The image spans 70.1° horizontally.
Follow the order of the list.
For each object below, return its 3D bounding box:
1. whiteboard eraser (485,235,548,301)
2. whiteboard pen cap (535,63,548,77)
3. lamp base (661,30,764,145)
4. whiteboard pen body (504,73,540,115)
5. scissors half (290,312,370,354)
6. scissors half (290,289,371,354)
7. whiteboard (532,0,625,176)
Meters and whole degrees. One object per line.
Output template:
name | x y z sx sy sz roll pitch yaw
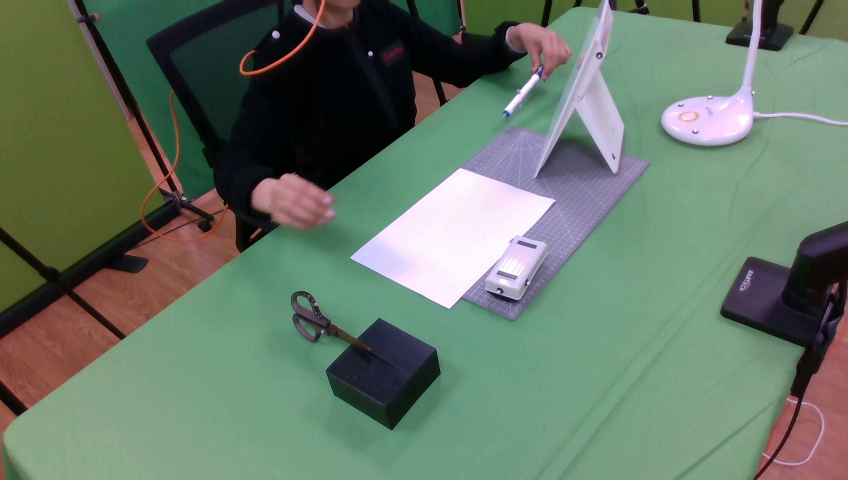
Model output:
whiteboard eraser | 0.137 0.042 0.887 0.055 0.042 0.113 15 46 27
whiteboard pen cap | 0.243 -0.351 1.256 0.018 0.018 0.033 24 70 33
lamp base | 0.535 -0.287 1.096 0.179 0.181 0.159 -10 40 -4
whiteboard pen body | 0.208 -0.307 1.238 0.017 0.017 0.141 27 69 35
scissors half | -0.128 0.129 0.816 0.013 0.040 0.173 -23 22 -40
scissors half | -0.128 0.110 0.809 0.013 0.040 0.173 -17 36 -43
whiteboard | 0.320 -0.259 1.050 0.144 0.306 0.217 21 45 5
